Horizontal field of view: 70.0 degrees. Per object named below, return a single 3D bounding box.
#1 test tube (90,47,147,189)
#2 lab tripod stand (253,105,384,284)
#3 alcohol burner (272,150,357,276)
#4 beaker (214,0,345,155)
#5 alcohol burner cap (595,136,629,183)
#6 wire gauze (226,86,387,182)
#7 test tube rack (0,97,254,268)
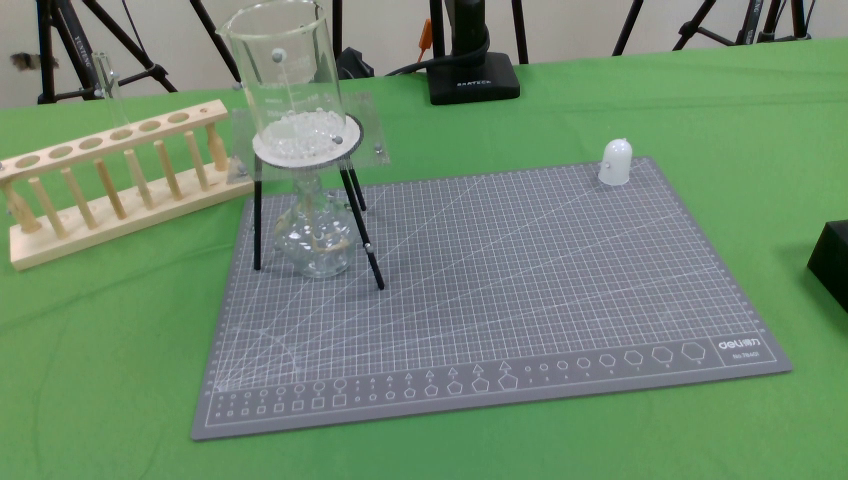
[{"bbox_3d":[-0.307,-0.118,0.613,0.017,0.151,0.017,0,35,0],"label":"test tube"},{"bbox_3d":[-0.094,-0.039,0.538,0.148,0.133,0.147,-3,43,3],"label":"lab tripod stand"},{"bbox_3d":[-0.100,-0.027,0.540,0.078,0.120,0.077,-3,39,3],"label":"alcohol burner"},{"bbox_3d":[-0.104,-0.122,0.460,0.084,0.101,0.073,-5,41,2],"label":"beaker"},{"bbox_3d":[0.199,-0.087,0.637,0.034,0.048,0.033,-2,41,2],"label":"alcohol burner cap"},{"bbox_3d":[-0.098,-0.087,0.495,0.125,0.011,0.120,-12,40,-4],"label":"wire gauze"},{"bbox_3d":[-0.312,-0.064,0.627,0.243,0.086,0.066,-22,44,-19],"label":"test tube rack"}]
